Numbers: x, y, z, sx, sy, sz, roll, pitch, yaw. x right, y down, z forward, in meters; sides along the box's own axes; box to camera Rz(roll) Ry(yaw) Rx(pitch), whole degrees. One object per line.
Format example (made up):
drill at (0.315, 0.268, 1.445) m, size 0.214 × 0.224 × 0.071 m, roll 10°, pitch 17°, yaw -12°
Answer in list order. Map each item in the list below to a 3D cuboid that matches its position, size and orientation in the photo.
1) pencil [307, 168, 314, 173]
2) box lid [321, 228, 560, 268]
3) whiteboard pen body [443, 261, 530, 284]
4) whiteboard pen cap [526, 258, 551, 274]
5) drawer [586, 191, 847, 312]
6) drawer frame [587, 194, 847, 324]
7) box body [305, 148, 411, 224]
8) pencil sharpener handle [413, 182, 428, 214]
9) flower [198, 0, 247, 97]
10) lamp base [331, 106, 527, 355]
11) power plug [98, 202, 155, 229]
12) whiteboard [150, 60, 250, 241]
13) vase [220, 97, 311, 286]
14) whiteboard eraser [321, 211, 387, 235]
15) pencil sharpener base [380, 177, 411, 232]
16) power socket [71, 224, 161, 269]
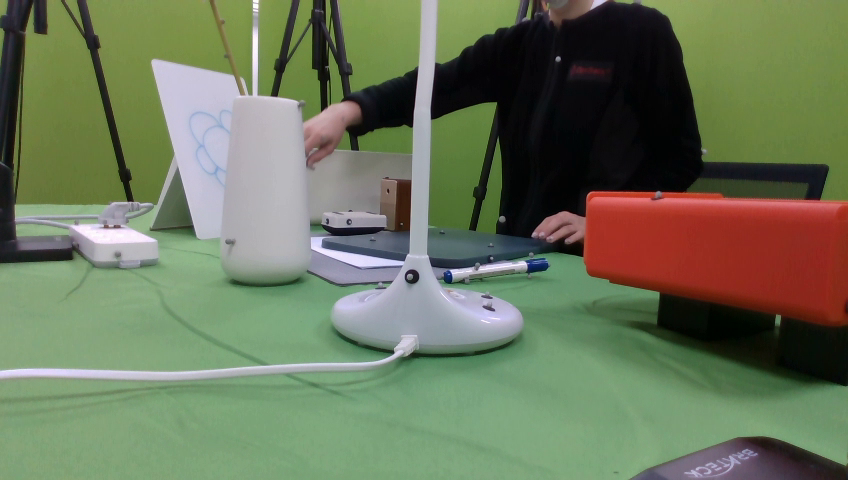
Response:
pencil at (-0.202, -0.120, 1.013) m, size 0.012 × 0.012 × 0.194 m, roll 2°, pitch 3°, yaw -1°
box lid at (0.040, 0.008, 0.996) m, size 0.262 × 0.015 × 0.373 m, roll 7°, pitch 8°, yaw 34°
whiteboard pen body at (0.087, 0.037, 0.734) m, size 0.141 × 0.017 × 0.017 m, roll -6°, pitch 10°, yaw -27°
whiteboard pen cap at (0.141, 0.033, 0.759) m, size 0.033 × 0.018 × 0.018 m, roll -7°, pitch 11°, yaw -26°
drawer at (0.281, 0.001, 0.513) m, size 0.195 × 0.073 × 0.210 m, roll -1°, pitch 8°, yaw -29°
drawer frame at (0.285, 0.004, 0.508) m, size 0.203 × 0.082 × 0.212 m, roll -1°, pitch 6°, yaw -29°
box body at (-0.230, -0.126, 1.371) m, size 0.366 × 0.160 × 0.253 m, roll -2°, pitch 8°, yaw -33°
pencil sharpener handle at (-0.003, -0.086, 1.254) m, size 0.031 × 0.067 × 0.036 m, roll -3°, pitch 19°, yaw -37°
flower at (-0.187, -0.133, 0.648) m, size 0.038 × 0.362 × 0.044 m, roll -1°, pitch 22°, yaw 43°
lamp base at (0.006, -0.012, 0.478) m, size 0.161 × 0.180 × 0.179 m, roll 2°, pitch 10°, yaw 2°
power plug at (-0.416, -0.027, 0.848) m, size 0.073 × 0.052 × 0.035 m, roll 0°, pitch 8°, yaw -28°
whiteboard at (-0.408, -0.139, 1.093) m, size 0.143 × 0.305 × 0.218 m, roll -15°, pitch -1°, yaw 26°
vase at (-0.172, -0.052, 0.662) m, size 0.098 × 0.200 × 0.098 m, roll 3°, pitch 8°, yaw 0°
whiteboard eraser at (-0.128, -0.031, 1.108) m, size 0.113 × 0.042 × 0.055 m, roll -3°, pitch 8°, yaw -38°
pencil sharpener base at (-0.042, -0.071, 1.222) m, size 0.077 × 0.107 × 0.061 m, roll -2°, pitch 8°, yaw -37°
power socket at (-0.408, 0.004, 0.793) m, size 0.072 × 0.032 × 0.225 m, roll -2°, pitch 8°, yaw -38°
